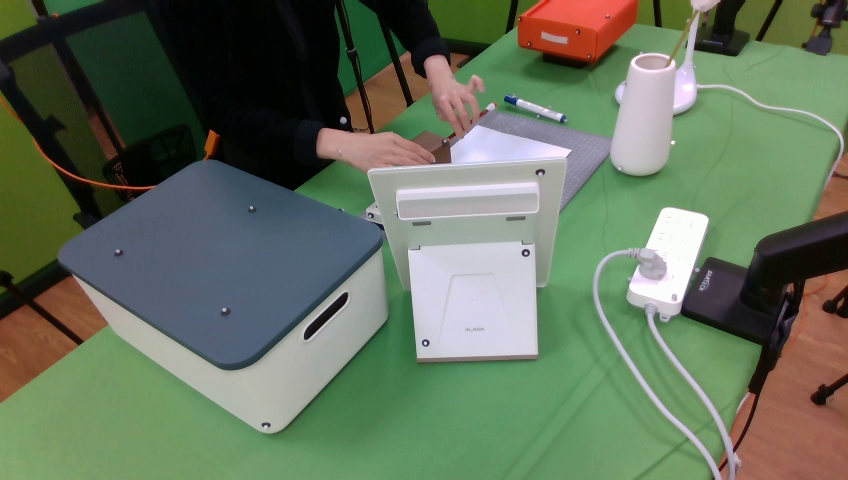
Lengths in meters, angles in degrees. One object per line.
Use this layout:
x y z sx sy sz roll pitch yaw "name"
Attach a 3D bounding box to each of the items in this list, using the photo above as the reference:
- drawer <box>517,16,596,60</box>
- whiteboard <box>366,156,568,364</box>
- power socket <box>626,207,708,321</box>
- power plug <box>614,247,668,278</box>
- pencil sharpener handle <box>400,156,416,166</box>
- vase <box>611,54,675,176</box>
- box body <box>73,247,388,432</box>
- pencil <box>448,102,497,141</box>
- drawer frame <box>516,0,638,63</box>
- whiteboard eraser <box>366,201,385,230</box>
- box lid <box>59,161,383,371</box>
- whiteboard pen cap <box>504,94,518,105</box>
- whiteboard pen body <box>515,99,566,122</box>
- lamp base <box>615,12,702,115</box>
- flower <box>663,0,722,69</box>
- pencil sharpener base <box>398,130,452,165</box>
0.353 -0.506 1.405 0.193 0.073 0.212 23 49 32 "drawer"
0.059 0.050 0.738 0.217 0.307 0.143 -2 60 6 "whiteboard"
0.359 0.025 0.886 0.072 0.033 0.227 16 46 26 "power socket"
0.306 0.031 0.851 0.072 0.053 0.035 24 49 33 "power plug"
-0.033 -0.106 1.015 0.035 0.068 0.031 30 53 32 "pencil sharpener handle"
0.377 -0.209 1.031 0.098 0.201 0.097 -3 40 3 "vase"
-0.255 0.065 0.827 0.361 0.161 0.255 21 48 29 "box body"
0.072 -0.201 1.086 0.012 0.012 0.194 27 53 33 "pencil"
0.355 -0.508 1.410 0.200 0.083 0.214 23 51 32 "drawer frame"
-0.038 -0.038 1.006 0.112 0.042 0.055 16 47 25 "whiteboard eraser"
-0.262 0.010 0.777 0.369 0.015 0.264 21 48 29 "box lid"
0.190 -0.299 1.292 0.033 0.018 0.018 30 52 28 "whiteboard pen cap"
0.234 -0.274 1.262 0.139 0.017 0.017 28 51 29 "whiteboard pen body"
0.484 -0.364 1.211 0.180 0.181 0.159 -15 41 -14 "lamp base"
0.379 -0.261 0.965 0.044 0.362 0.038 21 53 5 "flower"
0.004 -0.123 1.049 0.061 0.107 0.077 28 52 34 "pencil sharpener base"
